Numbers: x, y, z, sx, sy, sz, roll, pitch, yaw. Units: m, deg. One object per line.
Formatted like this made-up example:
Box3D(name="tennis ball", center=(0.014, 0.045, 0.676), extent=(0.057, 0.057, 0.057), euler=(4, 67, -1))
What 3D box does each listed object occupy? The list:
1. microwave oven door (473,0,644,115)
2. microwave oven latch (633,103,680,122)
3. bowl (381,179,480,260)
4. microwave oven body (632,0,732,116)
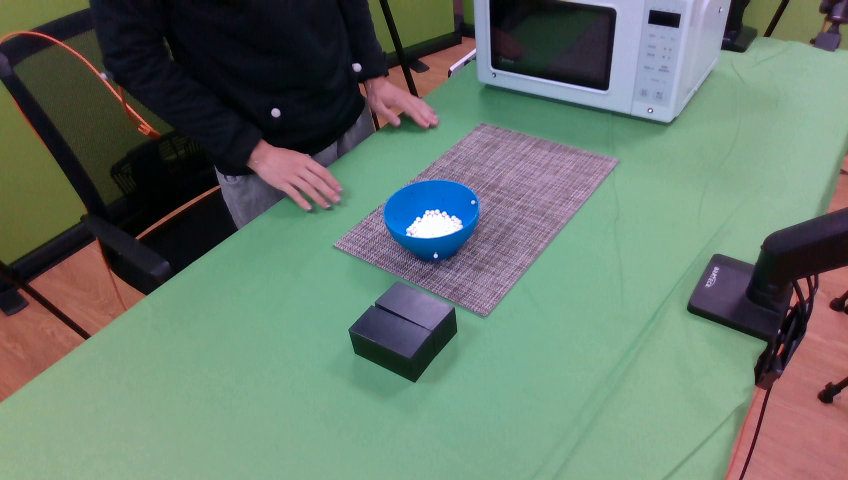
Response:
Box3D(name="microwave oven door", center=(0.257, -0.396, 1.199), extent=(0.353, 0.245, 0.039), euler=(21, 48, 29))
Box3D(name="microwave oven latch", center=(0.444, -0.249, 1.157), extent=(0.078, 0.029, 0.030), euler=(21, 48, 30))
Box3D(name="bowl", center=(0.014, -0.021, 0.942), extent=(0.151, 0.077, 0.150), euler=(-4, 40, 4))
Box3D(name="microwave oven body", center=(0.377, -0.462, 1.267), extent=(0.438, 0.261, 0.327), euler=(21, 48, 30))
